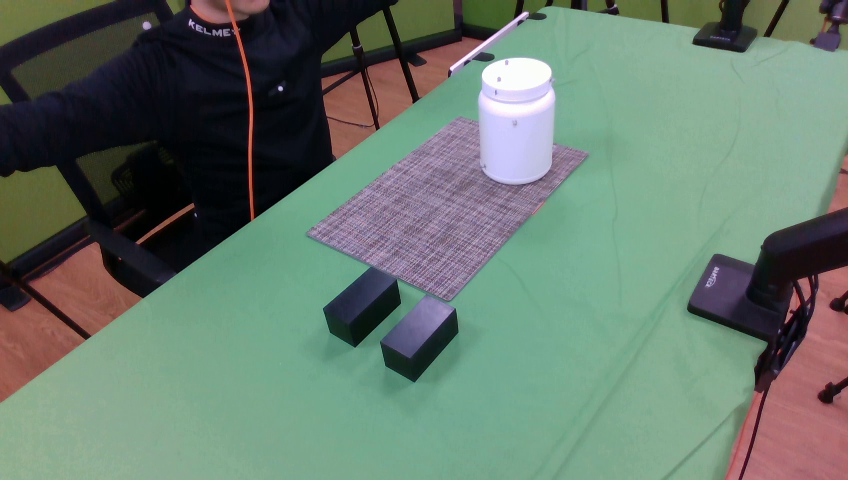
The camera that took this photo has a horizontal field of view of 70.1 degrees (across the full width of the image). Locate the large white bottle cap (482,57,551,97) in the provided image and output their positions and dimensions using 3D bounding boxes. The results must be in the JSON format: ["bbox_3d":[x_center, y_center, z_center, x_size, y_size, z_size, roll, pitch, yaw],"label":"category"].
[{"bbox_3d":[0.153,-0.270,0.999,0.115,0.018,0.114,-3,41,3],"label":"large white bottle cap"}]

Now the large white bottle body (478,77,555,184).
[{"bbox_3d":[0.161,-0.206,1.054,0.130,0.185,0.130,-4,41,4],"label":"large white bottle body"}]
